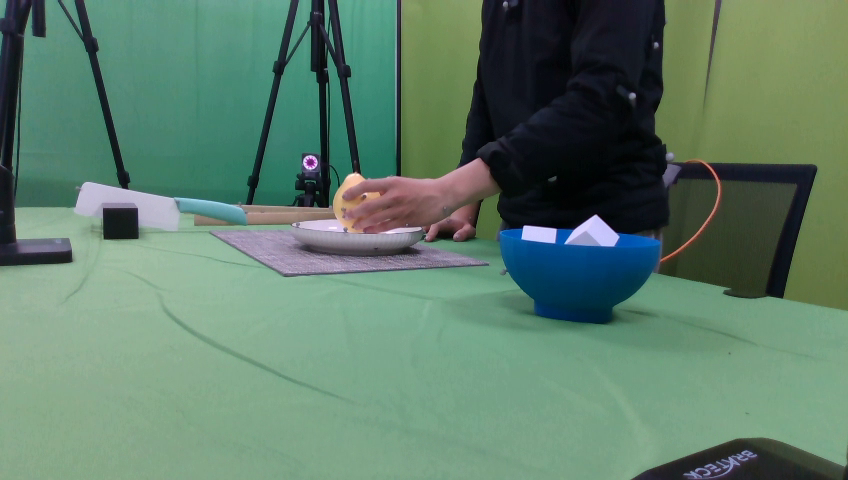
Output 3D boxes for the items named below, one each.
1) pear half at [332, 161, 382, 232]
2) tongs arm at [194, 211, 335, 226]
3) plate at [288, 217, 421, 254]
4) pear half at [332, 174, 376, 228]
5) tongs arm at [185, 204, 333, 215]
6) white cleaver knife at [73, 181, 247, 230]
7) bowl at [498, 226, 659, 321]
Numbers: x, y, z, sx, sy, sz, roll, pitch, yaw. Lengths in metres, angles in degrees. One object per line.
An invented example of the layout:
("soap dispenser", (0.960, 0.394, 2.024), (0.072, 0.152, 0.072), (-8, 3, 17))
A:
("pear half", (-0.101, -0.066, 0.928), (0.076, 0.110, 0.055), (-13, 17, -24))
("tongs arm", (-0.298, -0.050, 1.308), (0.390, 0.028, 0.028), (-4, 8, -38))
("plate", (-0.109, -0.007, 0.956), (0.208, 0.039, 0.207), (2, 8, 0))
("pear half", (-0.115, -0.064, 0.963), (0.071, 0.088, 0.031), (-12, 18, -25))
("tongs arm", (-0.337, -0.065, 1.377), (0.387, 0.026, 0.050), (0, 9, -25))
("white cleaver knife", (-0.465, -0.052, 1.090), (0.288, 0.066, 0.021), (9, 7, -30))
("bowl", (0.145, 0.032, 0.585), (0.151, 0.077, 0.151), (2, 7, 0))
